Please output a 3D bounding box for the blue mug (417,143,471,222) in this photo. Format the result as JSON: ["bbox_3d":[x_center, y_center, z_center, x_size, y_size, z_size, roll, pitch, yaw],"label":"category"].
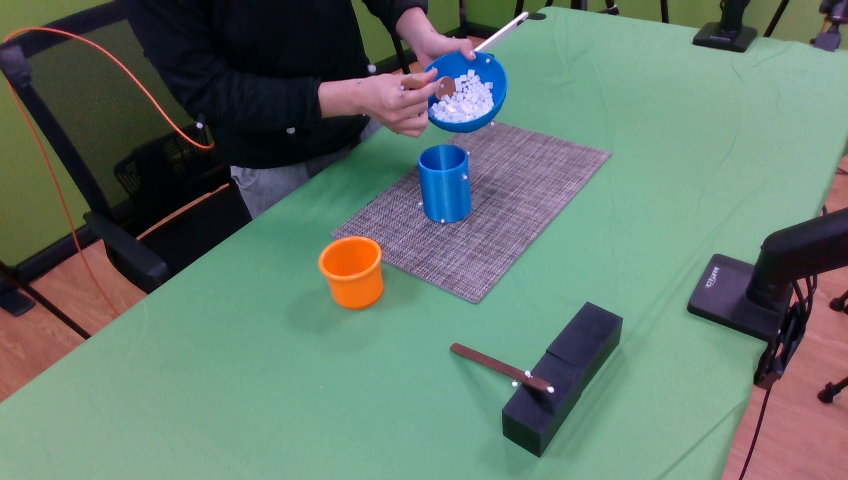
[{"bbox_3d":[0.031,-0.104,1.014,0.082,0.106,0.115,-14,41,-7],"label":"blue mug"}]

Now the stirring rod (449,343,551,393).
[{"bbox_3d":[0.088,0.154,0.741,0.014,0.006,0.174,-40,28,-25],"label":"stirring rod"}]

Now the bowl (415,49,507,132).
[{"bbox_3d":[0.066,-0.232,1.002,0.151,0.077,0.150,-5,63,10],"label":"bowl"}]

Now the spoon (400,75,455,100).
[{"bbox_3d":[0.008,-0.242,0.941,0.021,0.041,0.194,26,18,14],"label":"spoon"}]
